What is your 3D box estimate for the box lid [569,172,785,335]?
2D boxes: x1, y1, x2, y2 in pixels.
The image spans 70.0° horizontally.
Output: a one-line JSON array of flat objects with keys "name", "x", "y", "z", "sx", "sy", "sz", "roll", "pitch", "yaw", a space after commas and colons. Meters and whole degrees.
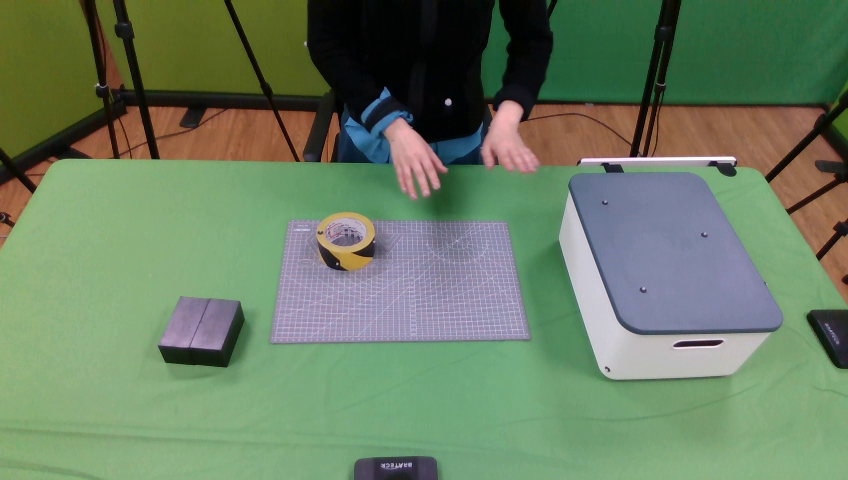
[{"name": "box lid", "x": 0.408, "y": 0.007, "z": 1.019, "sx": 0.263, "sy": 0.015, "sz": 0.369, "roll": -1, "pitch": 46, "yaw": -5}]

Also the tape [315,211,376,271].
[{"name": "tape", "x": -0.150, "y": 0.000, "z": 1.160, "sx": 0.117, "sy": 0.053, "sz": 0.116, "roll": 3, "pitch": 46, "yaw": -3}]

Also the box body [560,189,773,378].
[{"name": "box body", "x": 0.405, "y": 0.057, "z": 1.074, "sx": 0.254, "sy": 0.161, "sz": 0.361, "roll": -1, "pitch": 46, "yaw": -5}]
